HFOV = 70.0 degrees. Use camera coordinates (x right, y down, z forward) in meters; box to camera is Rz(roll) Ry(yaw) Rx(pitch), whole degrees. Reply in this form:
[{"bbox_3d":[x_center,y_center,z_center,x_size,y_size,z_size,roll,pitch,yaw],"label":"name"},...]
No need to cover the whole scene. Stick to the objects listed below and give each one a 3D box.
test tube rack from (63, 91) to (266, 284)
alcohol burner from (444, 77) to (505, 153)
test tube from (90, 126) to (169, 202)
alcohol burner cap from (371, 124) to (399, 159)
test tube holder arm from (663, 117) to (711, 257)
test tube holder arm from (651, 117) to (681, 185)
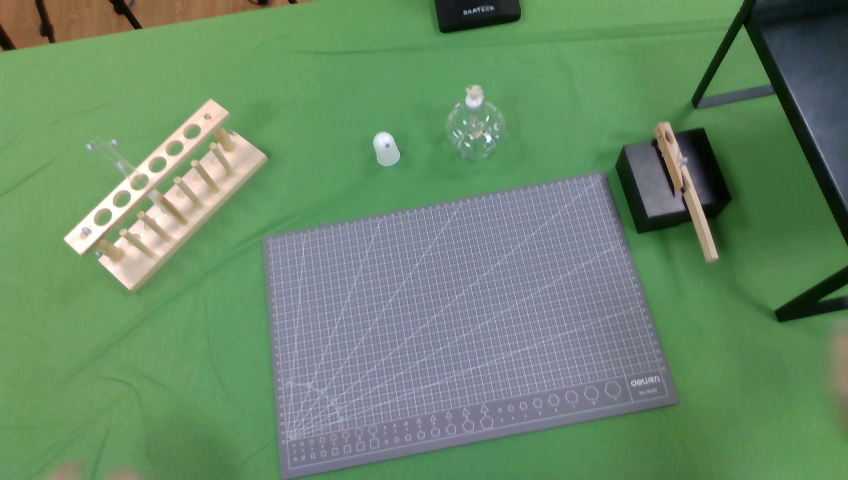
[{"bbox_3d":[-0.319,-0.066,0.767,0.066,0.086,0.242,37,76,16],"label":"test tube rack"},{"bbox_3d":[0.063,-0.162,0.760,0.078,0.120,0.077,-2,68,5],"label":"alcohol burner"},{"bbox_3d":[-0.346,-0.086,0.723,0.017,0.151,0.017,-3,64,7],"label":"test tube"},{"bbox_3d":[-0.053,-0.133,0.795,0.034,0.048,0.033,-3,65,7],"label":"alcohol burner cap"},{"bbox_3d":[0.302,-0.065,0.705,0.013,0.015,0.177,-5,69,-14],"label":"test tube holder arm"},{"bbox_3d":[0.289,-0.106,0.719,0.010,0.015,0.087,-5,69,-14],"label":"test tube holder arm"}]
